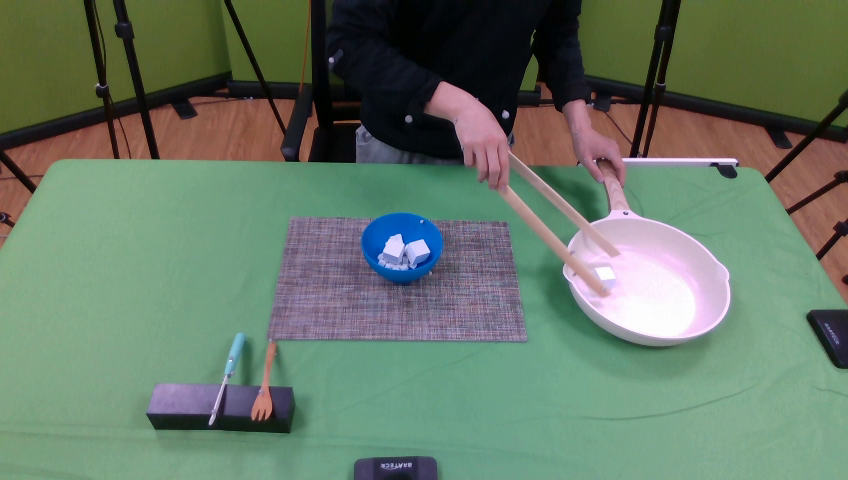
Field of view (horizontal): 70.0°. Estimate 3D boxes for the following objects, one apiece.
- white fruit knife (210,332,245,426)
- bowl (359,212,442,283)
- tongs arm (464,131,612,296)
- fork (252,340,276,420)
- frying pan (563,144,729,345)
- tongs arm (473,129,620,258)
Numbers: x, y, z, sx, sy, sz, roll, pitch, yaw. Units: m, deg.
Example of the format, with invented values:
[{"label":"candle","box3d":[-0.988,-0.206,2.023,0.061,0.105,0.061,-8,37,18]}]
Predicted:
[{"label":"white fruit knife","box3d":[-0.301,0.206,0.930,0.016,0.027,0.206,5,29,-7]},{"label":"bowl","box3d":[-0.044,0.026,1.125,0.151,0.077,0.150,2,46,-2]},{"label":"tongs arm","box3d":[0.208,-0.040,1.076,0.386,0.026,0.050,42,51,-16]},{"label":"fork","box3d":[-0.242,0.211,0.932,0.028,0.019,0.206,-5,26,-7]},{"label":"frying pan","box3d":[0.396,-0.008,1.179,0.307,0.103,0.484,1,55,-5]},{"label":"tongs arm","box3d":[0.229,-0.079,1.112,0.389,0.028,0.028,38,56,-20]}]
